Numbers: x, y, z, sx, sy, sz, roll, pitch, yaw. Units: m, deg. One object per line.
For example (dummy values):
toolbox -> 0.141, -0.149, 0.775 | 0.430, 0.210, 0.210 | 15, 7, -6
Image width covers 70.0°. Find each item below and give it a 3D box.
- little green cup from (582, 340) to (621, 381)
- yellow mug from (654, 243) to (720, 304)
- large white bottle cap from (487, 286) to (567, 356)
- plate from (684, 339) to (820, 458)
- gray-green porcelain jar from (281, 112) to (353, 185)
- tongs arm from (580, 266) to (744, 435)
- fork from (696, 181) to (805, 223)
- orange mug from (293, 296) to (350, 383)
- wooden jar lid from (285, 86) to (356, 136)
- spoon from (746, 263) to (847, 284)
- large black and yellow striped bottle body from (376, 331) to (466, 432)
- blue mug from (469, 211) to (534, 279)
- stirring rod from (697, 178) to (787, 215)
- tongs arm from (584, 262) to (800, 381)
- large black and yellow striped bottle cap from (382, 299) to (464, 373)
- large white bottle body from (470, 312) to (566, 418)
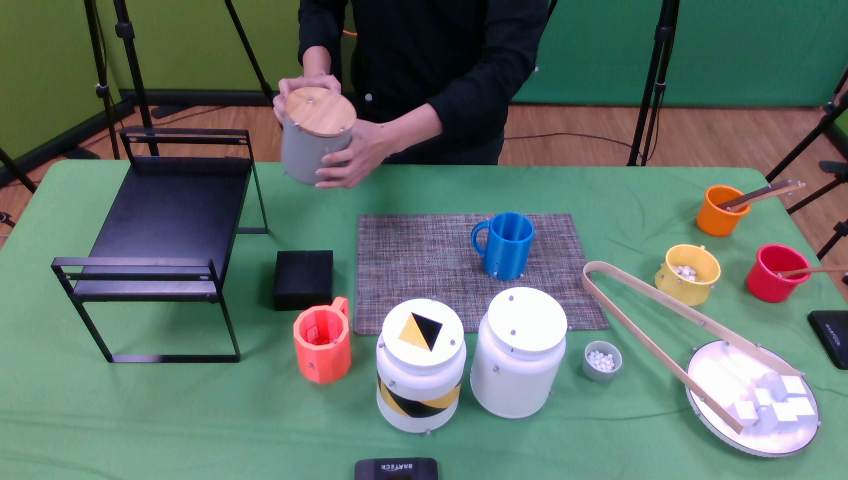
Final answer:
little green cup -> 0.295, 0.204, 1.014 | 0.061, 0.039, 0.061 | 2, 45, -2
yellow mug -> 0.504, 0.054, 1.154 | 0.099, 0.064, 0.130 | 28, 50, 22
large white bottle cap -> 0.147, 0.114, 0.869 | 0.115, 0.018, 0.114 | 3, 46, -3
plate -> 0.523, 0.256, 0.982 | 0.208, 0.039, 0.206 | 2, 46, -2
gray-green porcelain jar -> -0.177, -0.161, 0.986 | 0.106, 0.127, 0.105 | 10, 53, -13
tongs arm -> 0.384, 0.174, 1.029 | 0.028, 0.028, 0.385 | -25, 46, -14
fork -> 0.659, -0.077, 1.232 | 0.207, 0.019, 0.028 | -26, 35, 34
orange mug -> -0.157, 0.154, 0.985 | 0.083, 0.101, 0.125 | 17, 52, 11
wooden jar lid -> -0.160, -0.196, 0.938 | 0.108, 0.021, 0.107 | 11, 51, -13
spoon -> 0.696, 0.057, 1.113 | 0.193, 0.022, 0.041 | -16, 28, 48
large black and yellow striped bottle body -> -0.006, 0.189, 0.905 | 0.131, 0.185, 0.130 | 2, 46, -2
blue mug -> 0.141, 0.005, 1.140 | 0.116, 0.106, 0.082 | 18, 48, 13
stirring rod -> 0.650, -0.088, 1.246 | 0.006, 0.176, 0.014 | 29, 50, -38
tongs arm -> 0.452, 0.137, 1.064 | 0.051, 0.027, 0.382 | -34, 50, -26
large black and yellow striped bottle cap -> -0.002, 0.132, 0.843 | 0.115, 0.019, 0.114 | 2, 46, -1
large white bottle body -> 0.143, 0.173, 0.930 | 0.131, 0.185, 0.130 | 2, 46, -2
